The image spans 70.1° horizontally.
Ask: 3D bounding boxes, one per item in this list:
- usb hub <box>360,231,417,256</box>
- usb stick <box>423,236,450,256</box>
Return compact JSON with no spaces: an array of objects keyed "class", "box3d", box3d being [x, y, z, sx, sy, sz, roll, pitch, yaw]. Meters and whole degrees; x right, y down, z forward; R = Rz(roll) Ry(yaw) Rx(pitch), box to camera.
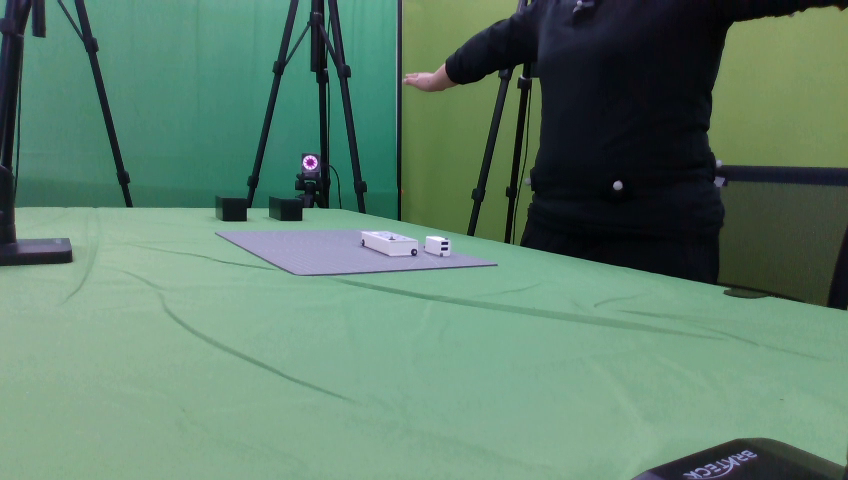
[{"class":"usb hub","box3d":[-0.059,0.004,0.951,0.050,0.025,0.124,-1,8,-26]},{"class":"usb stick","box3d":[0.017,0.009,0.937,0.021,0.027,0.059,-1,5,-29]}]
